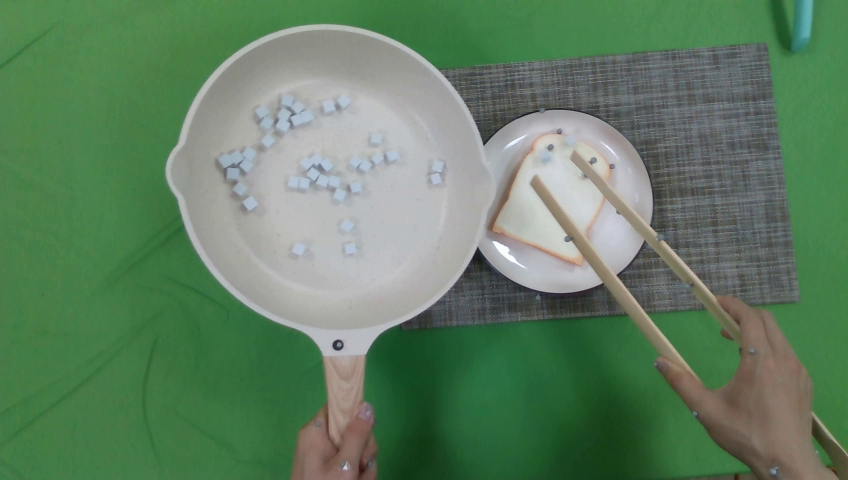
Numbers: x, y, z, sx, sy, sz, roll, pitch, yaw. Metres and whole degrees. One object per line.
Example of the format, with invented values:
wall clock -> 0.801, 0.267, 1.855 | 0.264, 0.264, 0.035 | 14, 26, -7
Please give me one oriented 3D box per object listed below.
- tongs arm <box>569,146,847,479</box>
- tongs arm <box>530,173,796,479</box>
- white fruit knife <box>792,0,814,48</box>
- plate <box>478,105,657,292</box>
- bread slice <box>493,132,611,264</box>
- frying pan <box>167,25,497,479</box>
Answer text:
tongs arm -> 0.249, 0.068, 0.550 | 0.051, 0.026, 0.383 | -38, 78, -12
tongs arm -> 0.224, 0.085, 0.544 | 0.028, 0.028, 0.385 | -35, 77, -15
white fruit knife -> 0.425, -0.324, 0.676 | 0.016, 0.027, 0.208 | -4, 99, 0
plate -> 0.151, -0.045, 0.678 | 0.207, 0.039, 0.207 | 0, 85, 2
bread slice -> 0.147, -0.053, 0.682 | 0.107, 0.018, 0.134 | 19, 89, 2
frying pan -> -0.078, 0.046, 0.576 | 0.308, 0.103, 0.485 | 1, 79, -16
